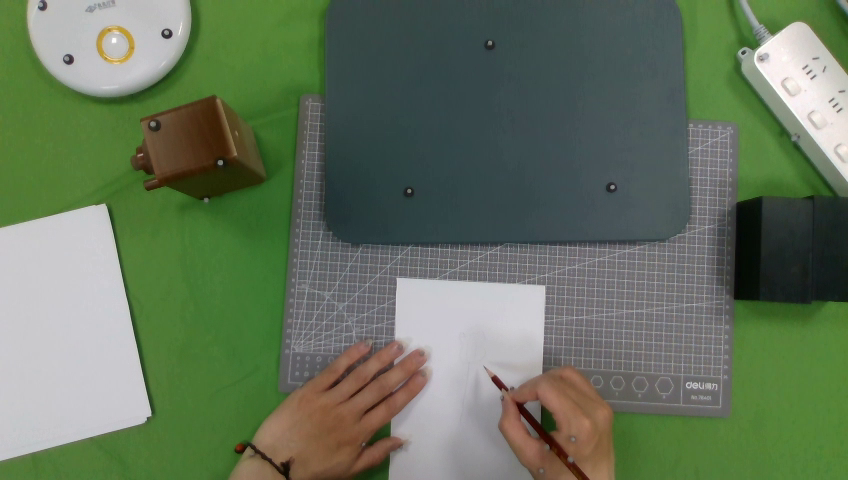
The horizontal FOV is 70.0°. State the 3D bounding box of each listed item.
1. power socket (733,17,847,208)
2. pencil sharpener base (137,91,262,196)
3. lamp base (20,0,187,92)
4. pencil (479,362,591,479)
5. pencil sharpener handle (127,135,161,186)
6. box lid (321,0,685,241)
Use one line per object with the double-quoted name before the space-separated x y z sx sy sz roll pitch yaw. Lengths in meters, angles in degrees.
"power socket" 0.409 -0.125 0.615 0.072 0.032 0.226 -37 88 -4
"pencil sharpener base" -0.205 -0.084 0.559 0.077 0.107 0.061 -18 87 -2
"lamp base" -0.323 -0.242 0.528 0.160 0.180 0.179 -28 85 -3
"pencil" 0.099 0.162 0.519 0.012 0.192 0.012 -15 123 -24
"pencil sharpener handle" -0.252 -0.066 0.544 0.030 0.068 0.036 -18 74 -2
"box lid" 0.081 -0.131 0.617 0.372 0.015 0.262 -1 86 -1
